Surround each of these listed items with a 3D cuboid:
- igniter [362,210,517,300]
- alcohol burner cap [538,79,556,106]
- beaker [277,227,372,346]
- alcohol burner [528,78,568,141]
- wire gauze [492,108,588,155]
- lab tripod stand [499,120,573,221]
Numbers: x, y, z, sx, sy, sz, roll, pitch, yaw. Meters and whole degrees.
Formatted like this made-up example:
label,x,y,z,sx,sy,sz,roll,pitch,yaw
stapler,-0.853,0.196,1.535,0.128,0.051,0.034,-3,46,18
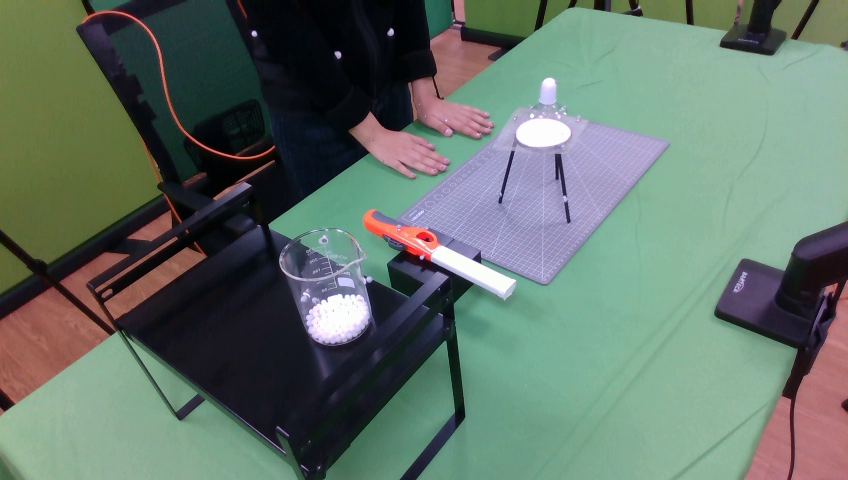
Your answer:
label,x,y,z,sx,sy,sz,roll,pitch,yaw
igniter,0.011,0.015,0.880,0.274,0.025,0.057,26,48,30
alcohol burner cap,0.234,-0.281,1.141,0.034,0.048,0.033,-2,42,2
beaker,-0.090,0.048,0.593,0.084,0.101,0.073,-3,41,5
alcohol burner,0.238,-0.253,1.163,0.078,0.119,0.077,-6,40,6
wire gauze,0.185,-0.170,0.953,0.121,0.011,0.125,13,44,22
lab tripod stand,0.198,-0.117,0.992,0.148,0.132,0.147,-3,40,3
